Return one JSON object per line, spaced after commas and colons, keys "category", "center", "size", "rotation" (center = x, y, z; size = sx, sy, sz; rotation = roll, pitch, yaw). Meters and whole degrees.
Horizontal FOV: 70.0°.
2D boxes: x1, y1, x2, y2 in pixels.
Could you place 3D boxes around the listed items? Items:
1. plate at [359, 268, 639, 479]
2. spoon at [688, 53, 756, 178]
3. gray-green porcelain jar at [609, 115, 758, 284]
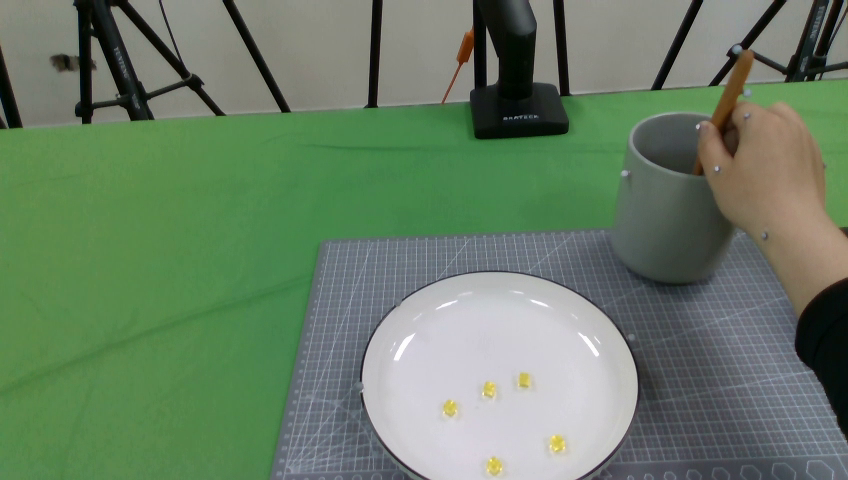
{"category": "plate", "center": [0.055, 0.105, 0.469], "size": [0.207, 0.039, 0.205], "rotation": [-2, 41, 2]}
{"category": "spoon", "center": [0.230, -0.062, 0.501], "size": [0.022, 0.195, 0.041], "rotation": [-10, 46, -9]}
{"category": "gray-green porcelain jar", "center": [0.226, -0.032, 0.546], "size": [0.106, 0.127, 0.105], "rotation": [-3, 41, 3]}
